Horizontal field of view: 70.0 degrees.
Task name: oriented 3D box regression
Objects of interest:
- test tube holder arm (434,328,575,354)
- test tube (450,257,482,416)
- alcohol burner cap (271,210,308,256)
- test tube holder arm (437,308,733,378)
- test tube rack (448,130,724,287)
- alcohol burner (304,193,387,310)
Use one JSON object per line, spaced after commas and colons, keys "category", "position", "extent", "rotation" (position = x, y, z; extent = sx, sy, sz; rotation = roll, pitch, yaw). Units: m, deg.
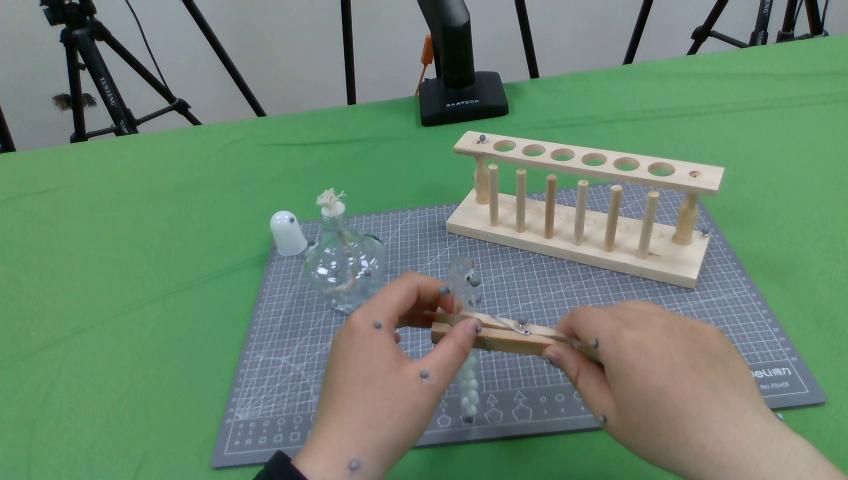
{"category": "test tube holder arm", "position": [0.050, 0.064, 0.383], "extent": [0.087, 0.015, 0.010], "rotation": [0, 51, 8]}
{"category": "test tube", "position": [0.029, 0.070, 0.401], "extent": [0.017, 0.151, 0.017], "rotation": [-4, 41, 4]}
{"category": "alcohol burner cap", "position": [-0.143, -0.010, 0.635], "extent": [0.034, 0.048, 0.033], "rotation": [-5, 40, 4]}
{"category": "test tube holder arm", "position": [0.095, 0.063, 0.377], "extent": [0.178, 0.015, 0.013], "rotation": [7, 53, 13]}
{"category": "test tube rack", "position": [0.139, -0.036, 0.571], "extent": [0.241, 0.086, 0.066], "rotation": [14, 45, 27]}
{"category": "alcohol burner", "position": [-0.073, 0.006, 0.543], "extent": [0.078, 0.120, 0.077], "rotation": [-5, 41, 4]}
